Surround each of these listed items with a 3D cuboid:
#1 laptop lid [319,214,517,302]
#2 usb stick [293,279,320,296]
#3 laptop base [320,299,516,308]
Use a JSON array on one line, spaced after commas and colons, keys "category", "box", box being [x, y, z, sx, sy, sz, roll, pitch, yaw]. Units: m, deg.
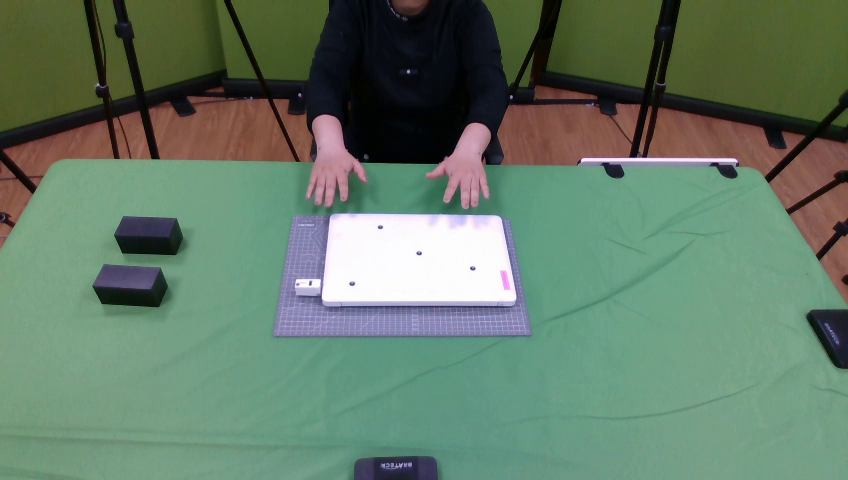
[{"category": "laptop lid", "box": [-0.013, 0.029, 1.154, 0.357, 0.013, 0.240, 2, 43, -3]}, {"category": "usb stick", "box": [-0.202, 0.086, 1.083, 0.059, 0.027, 0.021, 3, 46, -5]}, {"category": "laptop base", "box": [-0.013, 0.039, 1.161, 0.355, 0.023, 0.234, 0, 43, -4]}]
